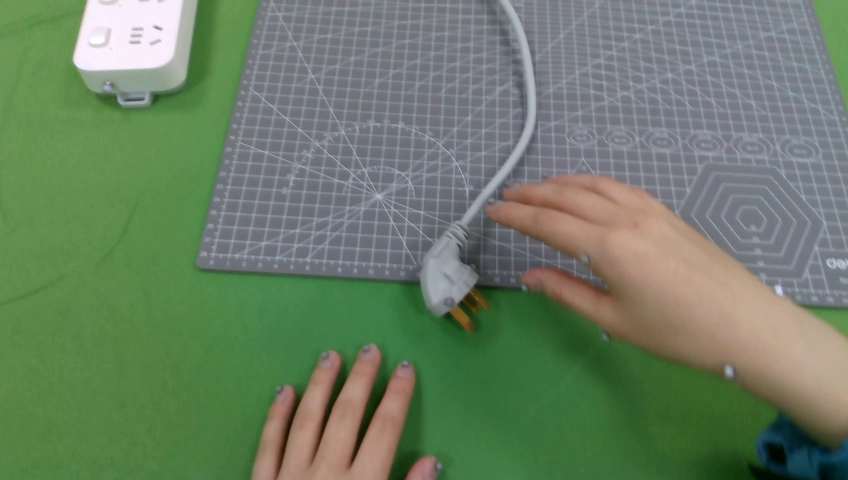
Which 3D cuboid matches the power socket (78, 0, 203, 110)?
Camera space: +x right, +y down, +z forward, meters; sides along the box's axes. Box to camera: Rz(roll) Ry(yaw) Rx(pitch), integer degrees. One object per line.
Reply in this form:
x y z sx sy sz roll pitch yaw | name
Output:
-0.210 -0.201 0.472 0.072 0.033 0.224 -2 63 -3 | power socket

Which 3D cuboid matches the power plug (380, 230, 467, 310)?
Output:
0.000 0.010 0.356 0.035 0.073 0.052 -33 26 -8 | power plug
